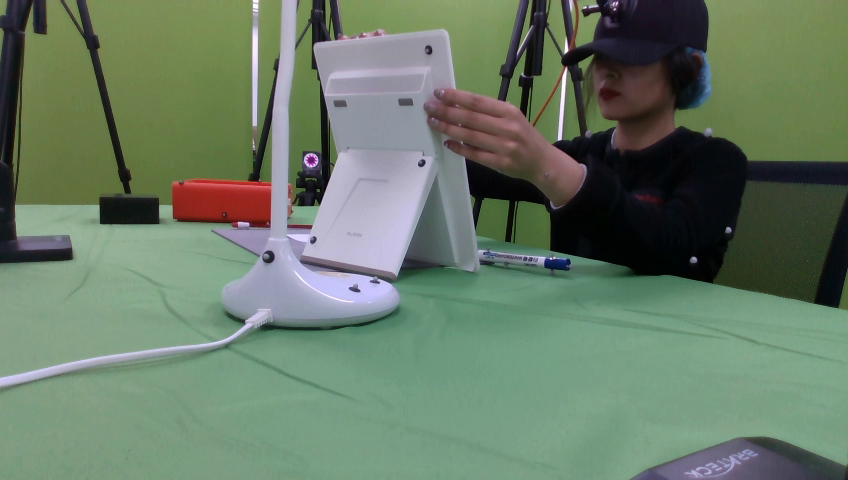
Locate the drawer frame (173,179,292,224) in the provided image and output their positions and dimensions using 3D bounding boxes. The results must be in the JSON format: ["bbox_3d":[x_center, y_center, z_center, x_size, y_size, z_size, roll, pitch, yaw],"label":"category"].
[{"bbox_3d":[-0.400,-0.086,1.300,0.214,0.082,0.201,1,8,-8],"label":"drawer frame"}]

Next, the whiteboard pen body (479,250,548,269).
[{"bbox_3d":[0.130,0.027,0.828,0.140,0.017,0.017,6,8,38],"label":"whiteboard pen body"}]

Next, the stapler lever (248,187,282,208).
[{"bbox_3d":[-0.341,-0.092,1.308,0.027,0.040,0.118,19,5,12],"label":"stapler lever"}]

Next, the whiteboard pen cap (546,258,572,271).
[{"bbox_3d":[0.176,0.032,0.790,0.033,0.018,0.018,3,6,37],"label":"whiteboard pen cap"}]

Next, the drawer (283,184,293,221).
[{"bbox_3d":[-0.396,-0.085,1.301,0.212,0.073,0.194,1,8,-7],"label":"drawer"}]

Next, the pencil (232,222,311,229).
[{"bbox_3d":[-0.261,-0.025,1.140,0.195,0.012,0.012,1,7,-26],"label":"pencil"}]

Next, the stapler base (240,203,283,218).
[{"bbox_3d":[-0.349,-0.066,1.309,0.041,0.024,0.131,19,7,12],"label":"stapler base"}]

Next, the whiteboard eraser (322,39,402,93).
[{"bbox_3d":[-0.084,-0.225,0.791,0.112,0.055,0.042,3,25,37],"label":"whiteboard eraser"}]

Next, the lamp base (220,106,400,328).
[{"bbox_3d":[-0.101,-0.023,0.531,0.160,0.180,0.179,4,10,10],"label":"lamp base"}]

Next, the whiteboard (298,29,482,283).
[{"bbox_3d":[-0.075,-0.082,0.741,0.216,0.305,0.144,9,29,37],"label":"whiteboard"}]
